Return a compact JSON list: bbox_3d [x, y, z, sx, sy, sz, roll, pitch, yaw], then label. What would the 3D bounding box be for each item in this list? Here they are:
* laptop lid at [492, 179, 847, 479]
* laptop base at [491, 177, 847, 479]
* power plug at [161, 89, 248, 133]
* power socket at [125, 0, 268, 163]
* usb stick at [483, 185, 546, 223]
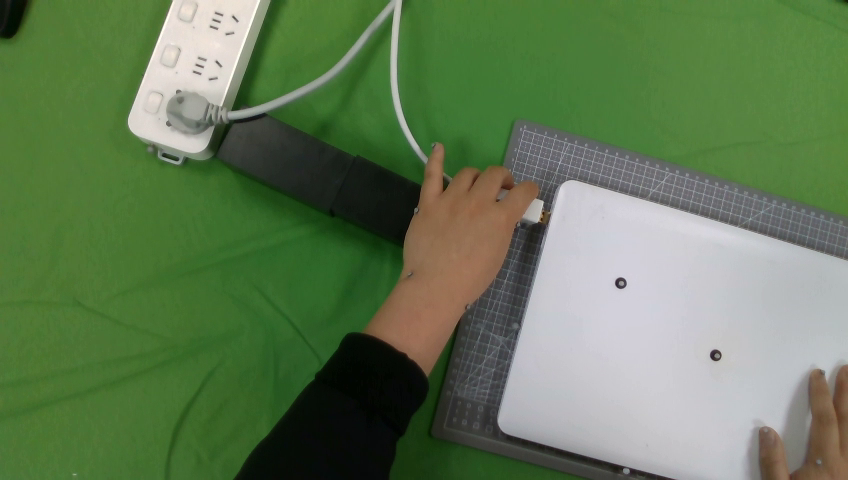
[{"bbox_3d":[0.256,0.102,0.548,0.357,0.013,0.241,18,88,-4],"label":"laptop lid"},{"bbox_3d":[0.256,0.100,0.558,0.355,0.023,0.235,16,89,-5],"label":"laptop base"},{"bbox_3d":[-0.183,-0.097,0.503,0.073,0.052,0.035,32,82,-4],"label":"power plug"},{"bbox_3d":[-0.189,-0.178,0.528,0.072,0.032,0.226,19,85,-5],"label":"power socket"},{"bbox_3d":[0.085,-0.030,0.539,0.059,0.027,0.021,17,86,-12],"label":"usb stick"}]
